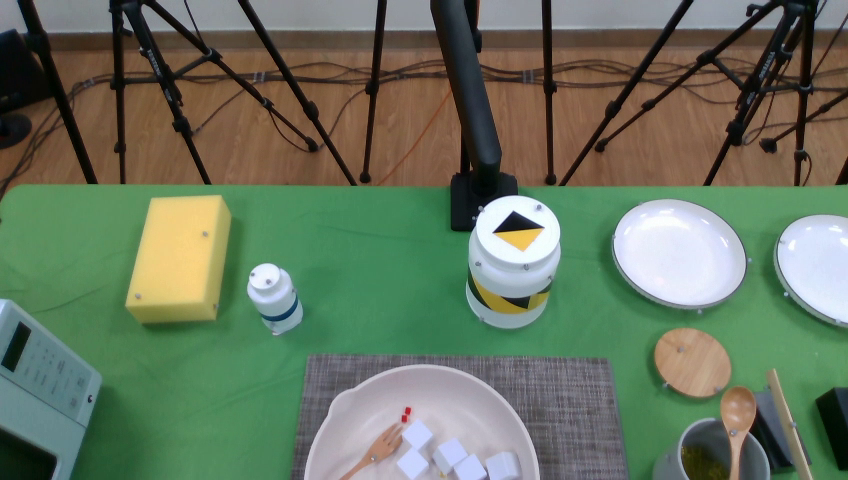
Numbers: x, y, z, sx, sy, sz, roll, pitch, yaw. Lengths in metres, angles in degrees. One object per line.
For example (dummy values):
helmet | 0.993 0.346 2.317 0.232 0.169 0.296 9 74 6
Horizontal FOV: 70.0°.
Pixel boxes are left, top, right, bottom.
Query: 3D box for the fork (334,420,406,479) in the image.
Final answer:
fork | -0.096 0.299 0.776 0.028 0.019 0.207 42 42 17

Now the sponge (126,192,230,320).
sponge | -0.392 0.024 0.981 0.118 0.061 0.205 -3 57 -2

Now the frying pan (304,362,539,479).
frying pan | -0.072 0.361 0.724 0.304 0.103 0.487 37 56 23

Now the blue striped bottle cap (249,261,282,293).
blue striped bottle cap | -0.226 0.052 0.862 0.044 0.021 0.044 0 58 1

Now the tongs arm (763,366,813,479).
tongs arm | 0.497 0.340 0.729 0.051 0.027 0.382 -5 69 -6

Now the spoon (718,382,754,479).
spoon | 0.351 0.256 0.691 0.041 0.022 0.192 16 62 7

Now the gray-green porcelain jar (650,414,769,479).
gray-green porcelain jar | 0.347 0.288 0.755 0.106 0.127 0.105 0 57 1

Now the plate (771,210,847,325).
plate | 0.656 0.046 0.959 0.209 0.038 0.207 -1 56 1

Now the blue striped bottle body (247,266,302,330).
blue striped bottle body | -0.224 0.081 0.904 0.063 0.122 0.062 -1 56 1

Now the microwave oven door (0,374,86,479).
microwave oven door | -0.492 0.338 0.647 0.039 0.246 0.352 1 57 2

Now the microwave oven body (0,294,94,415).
microwave oven body | -0.636 0.304 0.678 0.326 0.262 0.437 1 57 1

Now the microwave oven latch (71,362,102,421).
microwave oven latch | -0.480 0.212 0.851 0.030 0.030 0.078 3 57 3

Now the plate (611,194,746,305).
plate | 0.407 0.018 0.984 0.208 0.039 0.205 -1 57 1

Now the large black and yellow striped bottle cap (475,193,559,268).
large black and yellow striped bottle cap | 0.126 -0.015 0.823 0.115 0.019 0.114 -1 58 1

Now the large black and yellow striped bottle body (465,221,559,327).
large black and yellow striped bottle body | 0.127 0.033 0.893 0.131 0.185 0.129 0 56 1

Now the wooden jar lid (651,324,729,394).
wooden jar lid | 0.389 0.176 0.891 0.108 0.021 0.107 -1 58 1
